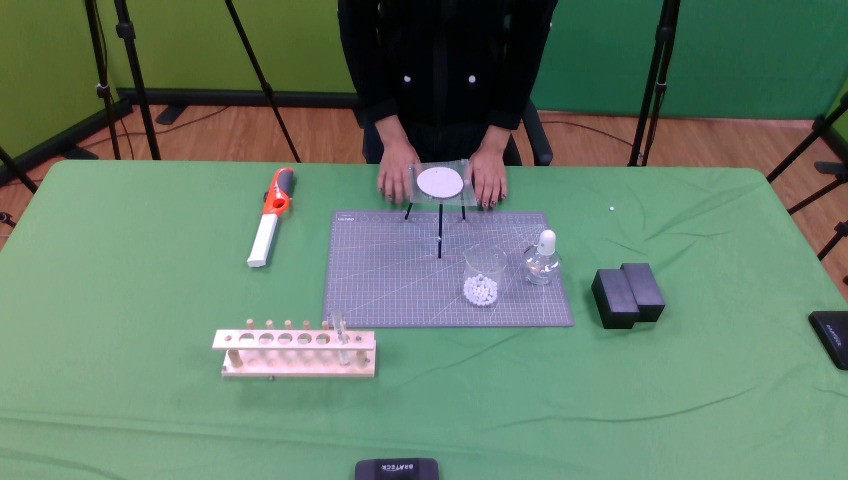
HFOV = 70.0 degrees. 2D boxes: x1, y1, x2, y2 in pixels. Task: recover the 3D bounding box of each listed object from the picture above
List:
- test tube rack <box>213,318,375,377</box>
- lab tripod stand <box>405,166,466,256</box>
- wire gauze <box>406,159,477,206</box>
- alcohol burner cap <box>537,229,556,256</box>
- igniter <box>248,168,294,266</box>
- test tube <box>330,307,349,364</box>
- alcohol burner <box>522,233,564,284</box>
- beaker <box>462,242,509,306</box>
[{"bbox_3d":[-0.202,0.169,0.977,0.242,0.085,0.066,1,46,-3],"label":"test tube rack"},{"bbox_3d":[0.030,-0.063,1.180,0.148,0.132,0.147,3,47,-3],"label":"lab tripod stand"},{"bbox_3d":[0.031,-0.108,1.129,0.125,0.011,0.120,-1,48,-5],"label":"wire gauze"},{"bbox_3d":[0.223,0.001,1.095,0.034,0.048,0.033,0,44,1],"label":"alcohol burner cap"},{"bbox_3d":[-0.308,-0.055,1.225,0.057,0.025,0.275,-3,46,7],"label":"igniter"},{"bbox_3d":[-0.129,0.150,0.931,0.017,0.151,0.017,0,50,0],"label":"test tube"},{"bbox_3d":[0.223,0.027,1.121,0.078,0.119,0.077,2,48,-2],"label":"alcohol burner"},{"bbox_3d":[0.105,0.064,1.087,0.084,0.101,0.073,18,47,14],"label":"beaker"}]
